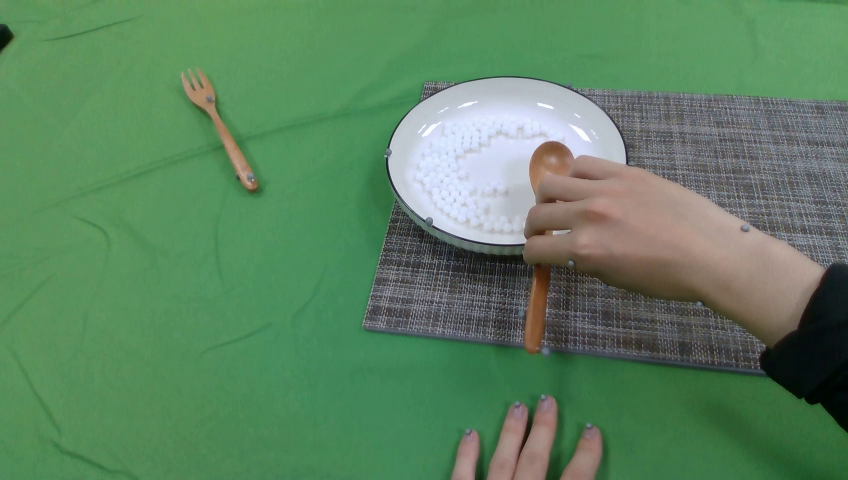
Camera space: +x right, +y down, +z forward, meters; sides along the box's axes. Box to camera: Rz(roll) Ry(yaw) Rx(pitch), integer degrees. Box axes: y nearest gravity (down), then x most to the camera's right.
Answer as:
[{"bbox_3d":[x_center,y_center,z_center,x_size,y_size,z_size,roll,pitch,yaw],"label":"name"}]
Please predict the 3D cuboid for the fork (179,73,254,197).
[{"bbox_3d":[-0.210,-0.110,0.613,0.028,0.019,0.205,-22,52,-20],"label":"fork"}]

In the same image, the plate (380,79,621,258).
[{"bbox_3d":[0.066,-0.064,0.539,0.207,0.039,0.205,-2,52,3],"label":"plate"}]

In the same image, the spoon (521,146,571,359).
[{"bbox_3d":[0.089,0.001,0.462,0.042,0.022,0.192,21,52,-9],"label":"spoon"}]
